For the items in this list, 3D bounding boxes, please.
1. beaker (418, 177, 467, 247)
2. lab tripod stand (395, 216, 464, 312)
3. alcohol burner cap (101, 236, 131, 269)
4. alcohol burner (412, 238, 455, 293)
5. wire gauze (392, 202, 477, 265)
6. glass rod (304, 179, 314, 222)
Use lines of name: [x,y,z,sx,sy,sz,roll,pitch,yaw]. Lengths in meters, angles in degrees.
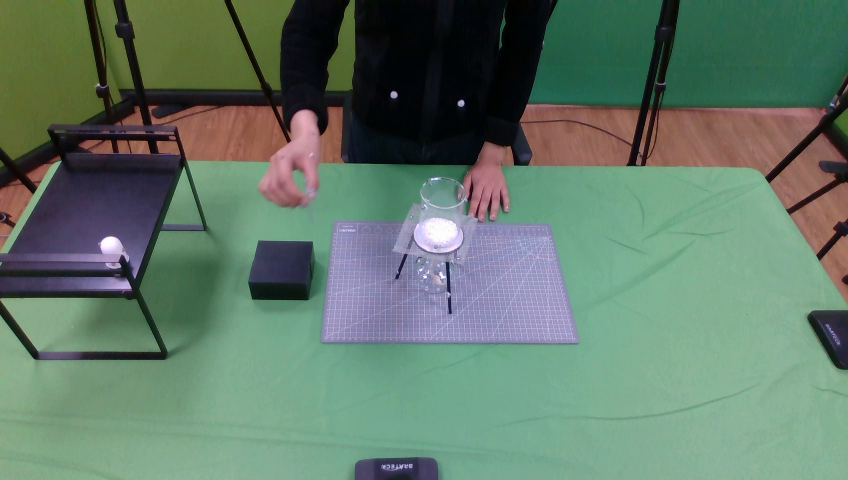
beaker: [0.026,-0.045,1.004,0.074,0.101,0.083,-21,51,-23]
lab tripod stand: [0.023,0.036,1.084,0.148,0.132,0.147,4,46,-4]
alcohol burner cap: [-0.452,0.016,0.883,0.034,0.048,0.033,2,47,-2]
alcohol burner: [0.019,0.040,1.094,0.078,0.119,0.077,4,45,-4]
wire gauze: [0.021,-0.011,1.038,0.121,0.011,0.124,13,49,8]
glass rod: [-0.176,-0.057,0.930,0.008,0.200,0.008,2,75,-8]
